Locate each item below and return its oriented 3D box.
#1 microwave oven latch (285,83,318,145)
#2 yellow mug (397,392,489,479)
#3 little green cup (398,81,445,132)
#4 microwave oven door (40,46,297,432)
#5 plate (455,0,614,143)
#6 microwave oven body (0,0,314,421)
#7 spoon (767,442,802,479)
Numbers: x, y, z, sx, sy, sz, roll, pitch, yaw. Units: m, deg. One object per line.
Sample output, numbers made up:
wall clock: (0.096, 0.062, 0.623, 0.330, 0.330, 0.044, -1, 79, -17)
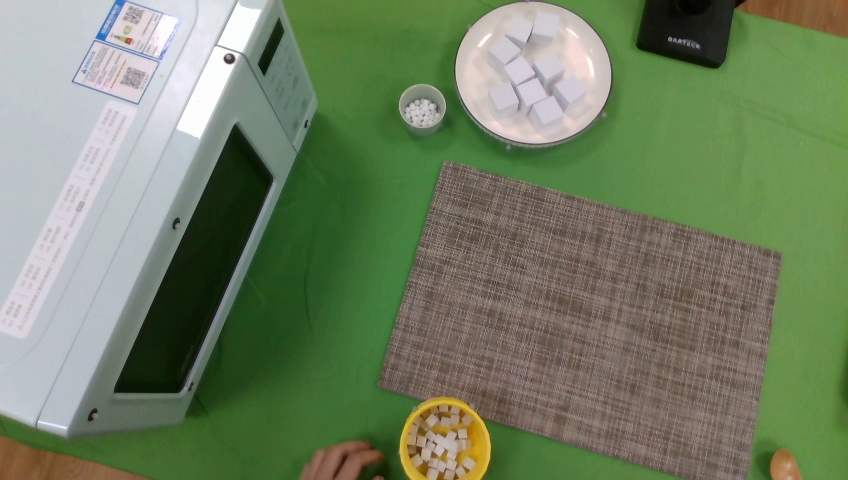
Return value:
microwave oven latch: (-0.161, -0.164, 0.770, 0.030, 0.029, 0.079, 20, 78, 3)
yellow mug: (0.013, 0.239, 0.686, 0.100, 0.064, 0.130, 28, 82, 4)
little green cup: (-0.003, -0.172, 0.792, 0.061, 0.039, 0.061, 0, 78, -2)
microwave oven door: (-0.236, 0.014, 0.625, 0.039, 0.245, 0.354, 19, 77, 4)
plate: (0.145, -0.222, 0.808, 0.208, 0.039, 0.206, 0, 77, -1)
microwave oven body: (-0.360, -0.072, 0.648, 0.326, 0.261, 0.440, 19, 78, 3)
spoon: (0.455, 0.322, 0.697, 0.041, 0.022, 0.193, -26, 78, -25)
